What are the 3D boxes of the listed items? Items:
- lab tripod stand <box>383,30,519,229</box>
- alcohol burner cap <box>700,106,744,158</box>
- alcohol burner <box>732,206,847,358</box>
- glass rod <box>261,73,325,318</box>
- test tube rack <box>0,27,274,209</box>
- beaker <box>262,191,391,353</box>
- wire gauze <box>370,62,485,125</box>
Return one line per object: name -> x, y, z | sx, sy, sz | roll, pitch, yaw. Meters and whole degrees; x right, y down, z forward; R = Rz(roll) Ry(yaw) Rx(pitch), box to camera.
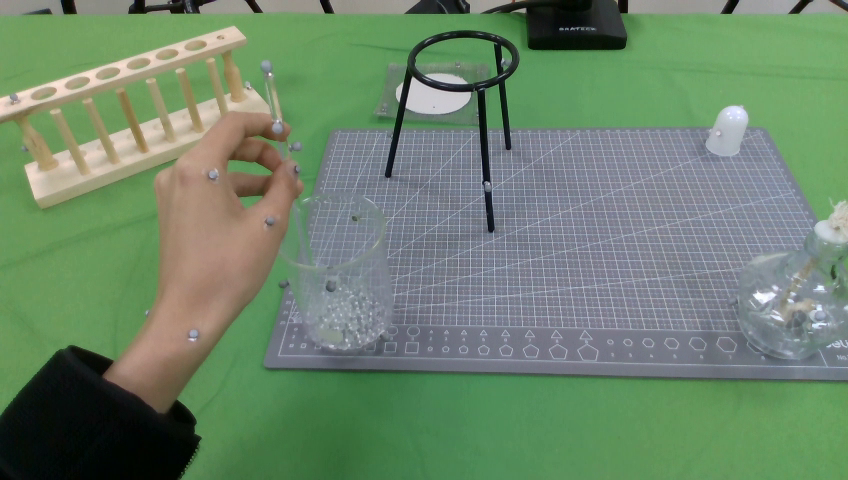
lab tripod stand -> 0.028, -0.100, 0.528 | 0.148, 0.133, 0.147 | -2, 47, 3
alcohol burner cap -> 0.290, -0.107, 0.587 | 0.034, 0.048, 0.033 | -1, 45, 2
alcohol burner -> 0.255, 0.025, 0.407 | 0.078, 0.120, 0.077 | -1, 43, 2
glass rod -> -0.082, -0.015, 0.396 | 0.008, 0.201, 0.008 | -1, 42, 2
test tube rack -> -0.284, -0.127, 0.608 | 0.242, 0.086, 0.066 | -27, 50, -22
beaker -> -0.064, 0.027, 0.432 | 0.084, 0.101, 0.073 | -1, 45, 3
wire gauze -> 0.006, -0.170, 0.692 | 0.125, 0.011, 0.120 | 3, 44, 7
